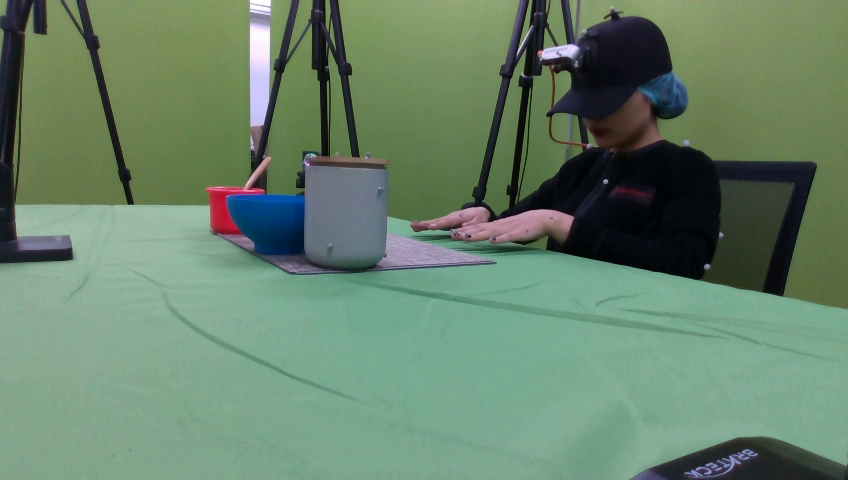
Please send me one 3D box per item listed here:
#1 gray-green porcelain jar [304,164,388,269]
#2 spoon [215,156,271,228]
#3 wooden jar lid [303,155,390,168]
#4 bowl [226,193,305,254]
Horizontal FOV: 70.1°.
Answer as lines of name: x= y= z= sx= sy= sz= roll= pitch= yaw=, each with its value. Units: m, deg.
gray-green porcelain jar: x=-0.099 y=-0.031 z=0.770 sx=0.106 sy=0.126 sz=0.106 roll=2 pitch=7 yaw=0
spoon: x=-0.319 y=-0.090 z=1.091 sx=0.041 sy=0.022 sz=0.193 roll=7 pitch=52 yaw=17
wooden jar lid: x=-0.097 y=-0.095 z=0.761 sx=0.108 sy=0.020 sz=0.108 roll=1 pitch=7 yaw=0
bowl: x=-0.205 y=-0.024 z=0.866 sx=0.151 sy=0.077 sz=0.151 roll=3 pitch=7 yaw=0
